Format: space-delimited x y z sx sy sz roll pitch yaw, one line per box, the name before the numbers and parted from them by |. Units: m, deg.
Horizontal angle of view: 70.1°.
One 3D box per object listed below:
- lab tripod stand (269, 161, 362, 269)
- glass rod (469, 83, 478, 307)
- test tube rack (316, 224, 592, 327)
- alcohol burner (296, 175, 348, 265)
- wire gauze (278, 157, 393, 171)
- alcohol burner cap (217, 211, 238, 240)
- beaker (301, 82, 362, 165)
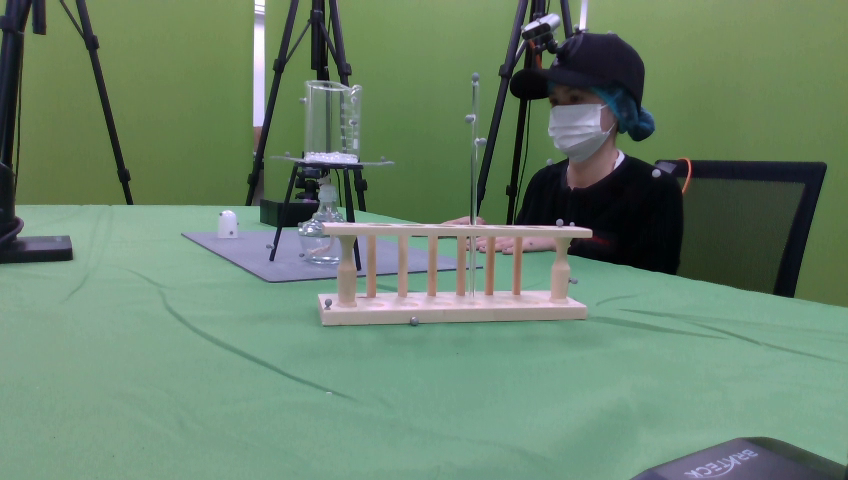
lab tripod stand | -0.125 -0.036 0.794 0.148 0.131 0.148 5 7 0
glass rod | 0.043 -0.033 0.523 0.008 0.199 0.008 -1 14 1
test tube rack | 0.026 0.028 0.555 0.243 0.085 0.066 1 7 -15
alcohol burner | -0.129 -0.026 0.798 0.078 0.119 0.078 2 9 0
wire gauze | -0.122 -0.100 0.786 0.122 0.011 0.124 -5 14 -38
alcohol burner cap | -0.323 -0.024 0.994 0.034 0.048 0.034 3 8 0
beaker | -0.117 -0.147 0.776 0.074 0.100 0.083 -3 10 -38
